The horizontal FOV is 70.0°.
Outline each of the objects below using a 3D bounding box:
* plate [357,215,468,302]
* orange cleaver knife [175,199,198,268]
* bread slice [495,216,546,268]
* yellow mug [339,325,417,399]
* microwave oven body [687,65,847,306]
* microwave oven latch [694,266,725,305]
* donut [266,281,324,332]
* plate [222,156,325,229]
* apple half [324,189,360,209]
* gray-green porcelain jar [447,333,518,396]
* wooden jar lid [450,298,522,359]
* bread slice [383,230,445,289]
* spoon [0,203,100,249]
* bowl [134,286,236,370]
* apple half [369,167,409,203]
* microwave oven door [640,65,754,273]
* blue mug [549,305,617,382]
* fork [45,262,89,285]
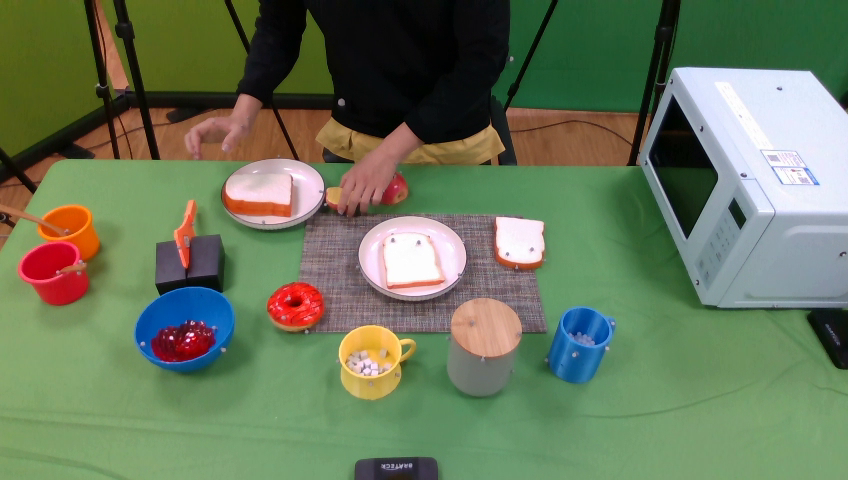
[{"bbox_3d":[-0.022,0.037,1.141,0.208,0.039,0.206,2,46,-2],"label":"plate"},{"bbox_3d":[-0.438,-0.017,1.138,0.012,0.077,0.210,-13,27,-7],"label":"orange cleaver knife"},{"bbox_3d":[0.194,0.002,1.205,0.105,0.019,0.131,5,45,2],"label":"bread slice"},{"bbox_3d":[-0.072,0.190,0.978,0.131,0.064,0.099,-17,50,-20],"label":"yellow mug"},{"bbox_3d":[0.669,-0.111,1.176,0.326,0.261,0.439,0,46,-3],"label":"microwave oven body"},{"bbox_3d":[0.523,0.082,1.115,0.030,0.029,0.078,3,46,0],"label":"microwave oven latch"},{"bbox_3d":[-0.222,0.115,1.049,0.099,0.048,0.098,2,46,-2],"label":"donut"},{"bbox_3d":[-0.307,-0.095,1.251,0.209,0.038,0.208,3,47,-3],"label":"plate"},{"bbox_3d":[-0.171,-0.080,1.251,0.081,0.033,0.081,10,20,-3],"label":"apple half"},{"bbox_3d":[0.091,0.178,0.960,0.106,0.127,0.105,2,46,-2],"label":"gray-green porcelain jar"},{"bbox_3d":[0.093,0.135,0.914,0.108,0.021,0.107,3,48,-3],"label":"wooden jar lid"},{"bbox_3d":[-0.028,0.035,1.144,0.107,0.018,0.133,-7,48,-12],"label":"bread slice"},{"bbox_3d":[-0.683,-0.031,1.088,0.021,0.195,0.041,-35,43,25],"label":"spoon"},{"bbox_3d":[-0.377,0.156,0.981,0.151,0.077,0.150,2,46,-2],"label":"bowl"},{"bbox_3d":[-0.073,-0.122,1.284,0.081,0.053,0.074,-27,56,-27],"label":"apple half"},{"bbox_3d":[0.523,-0.147,1.193,0.039,0.245,0.353,0,47,-3],"label":"microwave oven door"},{"bbox_3d":[0.269,0.166,0.998,0.116,0.106,0.082,-19,51,-21],"label":"blue mug"},{"bbox_3d":[-0.598,0.054,1.014,0.207,0.019,0.028,-15,28,46],"label":"fork"}]
